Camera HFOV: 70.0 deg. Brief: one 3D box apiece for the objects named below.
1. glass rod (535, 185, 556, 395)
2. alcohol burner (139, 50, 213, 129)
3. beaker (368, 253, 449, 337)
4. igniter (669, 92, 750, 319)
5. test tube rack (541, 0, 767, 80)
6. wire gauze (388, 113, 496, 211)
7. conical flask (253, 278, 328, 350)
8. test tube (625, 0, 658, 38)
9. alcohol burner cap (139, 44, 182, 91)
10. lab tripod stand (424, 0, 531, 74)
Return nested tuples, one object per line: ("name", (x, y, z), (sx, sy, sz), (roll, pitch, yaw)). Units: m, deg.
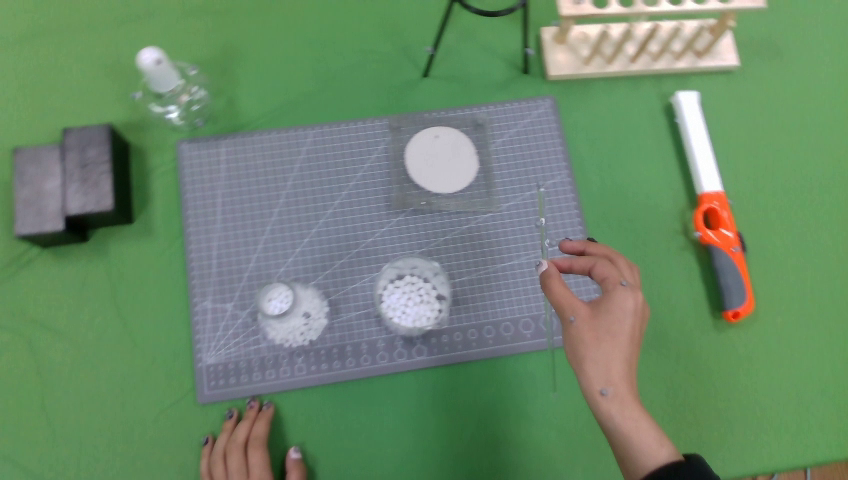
("glass rod", (0.108, 0.050, 0.536), (0.008, 0.008, 0.200), (-9, 106, -6))
("alcohol burner", (-0.274, -0.169, 0.655), (0.078, 0.119, 0.077), (1, 77, -2))
("beaker", (-0.014, 0.062, 0.621), (0.084, 0.100, 0.074), (45, 78, 7))
("igniter", (0.334, -0.045, 0.710), (0.057, 0.025, 0.275), (-4, 76, -14))
("test tube rack", (0.272, -0.248, 0.725), (0.243, 0.085, 0.066), (-4, 76, -4))
("wire gauze", (0.021, -0.093, 0.708), (0.125, 0.011, 0.121), (0, 76, -6))
("conical flask", (-0.138, 0.067, 0.600), (0.075, 0.122, 0.075), (1, 76, -3))
("test tube", (0.256, -0.273, 0.679), (0.017, 0.151, 0.017), (0, 76, -1))
("alcohol burner cap", (-0.272, -0.180, 0.621), (0.034, 0.048, 0.033), (1, 69, -3))
("lab tripod stand", (0.065, -0.254, 0.689), (0.148, 0.132, 0.147), (1, 78, -3))
